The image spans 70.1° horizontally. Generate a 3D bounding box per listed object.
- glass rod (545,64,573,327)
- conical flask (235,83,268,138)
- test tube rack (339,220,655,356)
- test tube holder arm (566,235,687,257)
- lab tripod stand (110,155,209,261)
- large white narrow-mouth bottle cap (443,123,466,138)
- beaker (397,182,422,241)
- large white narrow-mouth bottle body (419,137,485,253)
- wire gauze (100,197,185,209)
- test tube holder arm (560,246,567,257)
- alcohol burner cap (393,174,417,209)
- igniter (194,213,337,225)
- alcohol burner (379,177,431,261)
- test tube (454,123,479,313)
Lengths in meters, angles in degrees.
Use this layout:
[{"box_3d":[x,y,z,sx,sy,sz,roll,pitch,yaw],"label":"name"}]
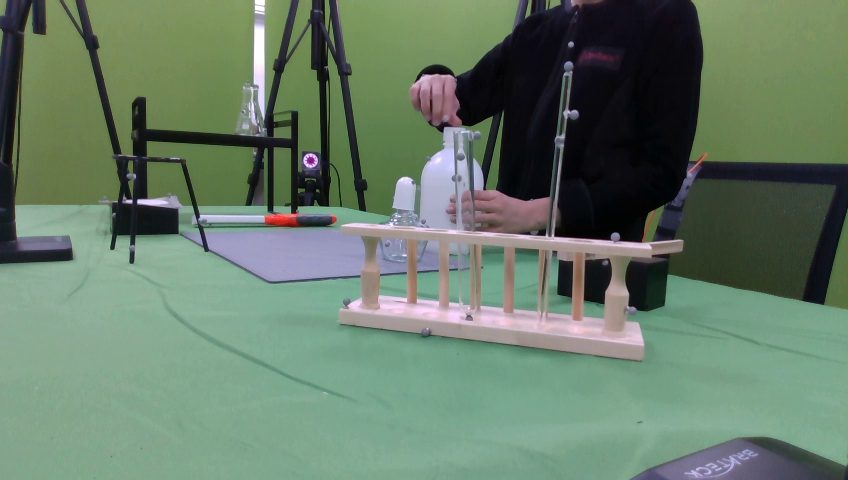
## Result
[{"box_3d":[0.101,-0.028,0.453,0.008,0.199,0.008,1,14,0],"label":"glass rod"},{"box_3d":[-0.402,-0.299,1.406,0.075,0.122,0.075,2,7,0],"label":"conical flask"},{"box_3d":[0.056,0.032,0.495,0.242,0.085,0.067,4,7,15],"label":"test tube rack"},{"box_3d":[0.215,0.006,0.630,0.179,0.015,0.013,-3,9,-31],"label":"test tube holder arm"},{"box_3d":[-0.361,-0.046,0.806,0.148,0.131,0.148,2,5,0],"label":"lab tripod stand"},{"box_3d":[0.048,-0.170,0.943,0.038,0.024,0.037,2,8,0],"label":"large white narrow-mouth bottle cap"},{"box_3d":[-0.011,-0.051,1.078,0.074,0.100,0.083,-2,9,-26],"label":"beaker"},{"box_3d":[0.046,-0.081,0.956,0.102,0.194,0.102,2,8,0],"label":"large white narrow-mouth bottle body"},{"box_3d":[-0.469,-0.062,1.008,0.126,0.011,0.121,-2,8,-25],"label":"wire gauze"},{"box_3d":[0.173,0.007,0.611,0.088,0.015,0.010,-3,9,-30],"label":"test tube holder arm"},{"box_3d":[-0.025,-0.067,0.834,0.034,0.048,0.034,8,7,-1],"label":"alcohol burner cap"},{"box_3d":[-0.306,-0.042,1.196,0.278,0.025,0.057,-2,-2,-31],"label":"igniter"},{"box_3d":[-0.027,-0.031,0.838,0.078,0.119,0.078,0,6,0],"label":"alcohol burner"},{"box_3d":[0.034,-0.016,0.477,0.017,0.150,0.017,-2,9,1],"label":"test tube"}]
